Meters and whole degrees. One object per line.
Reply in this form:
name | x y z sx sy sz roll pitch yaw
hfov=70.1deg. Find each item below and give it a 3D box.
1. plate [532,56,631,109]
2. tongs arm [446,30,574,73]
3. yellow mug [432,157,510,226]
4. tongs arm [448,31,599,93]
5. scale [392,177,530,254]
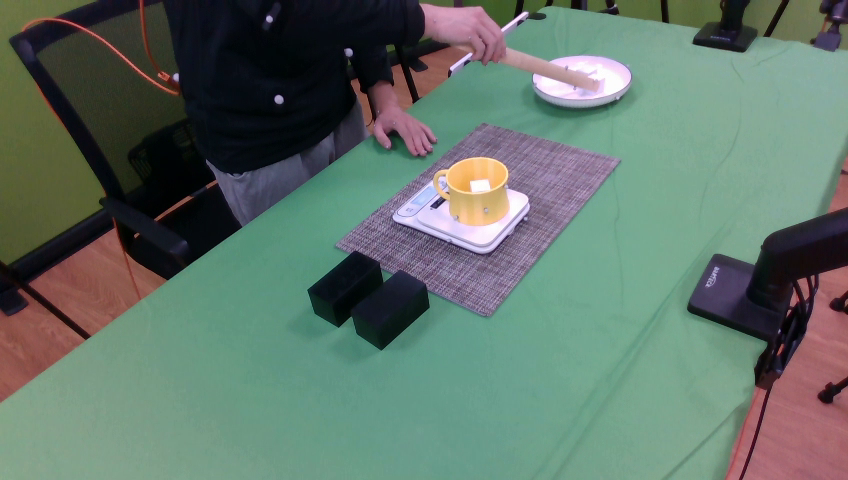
plate | 0.336 -0.335 1.301 0.207 0.039 0.206 -4 41 4
tongs arm | 0.191 -0.343 1.165 0.391 0.028 0.028 4 29 -38
yellow mug | 0.072 -0.082 0.968 0.130 0.064 0.100 13 45 24
tongs arm | 0.203 -0.332 1.148 0.388 0.026 0.050 1 27 -41
scale | 0.060 -0.050 1.006 0.199 0.032 0.149 22 48 30
